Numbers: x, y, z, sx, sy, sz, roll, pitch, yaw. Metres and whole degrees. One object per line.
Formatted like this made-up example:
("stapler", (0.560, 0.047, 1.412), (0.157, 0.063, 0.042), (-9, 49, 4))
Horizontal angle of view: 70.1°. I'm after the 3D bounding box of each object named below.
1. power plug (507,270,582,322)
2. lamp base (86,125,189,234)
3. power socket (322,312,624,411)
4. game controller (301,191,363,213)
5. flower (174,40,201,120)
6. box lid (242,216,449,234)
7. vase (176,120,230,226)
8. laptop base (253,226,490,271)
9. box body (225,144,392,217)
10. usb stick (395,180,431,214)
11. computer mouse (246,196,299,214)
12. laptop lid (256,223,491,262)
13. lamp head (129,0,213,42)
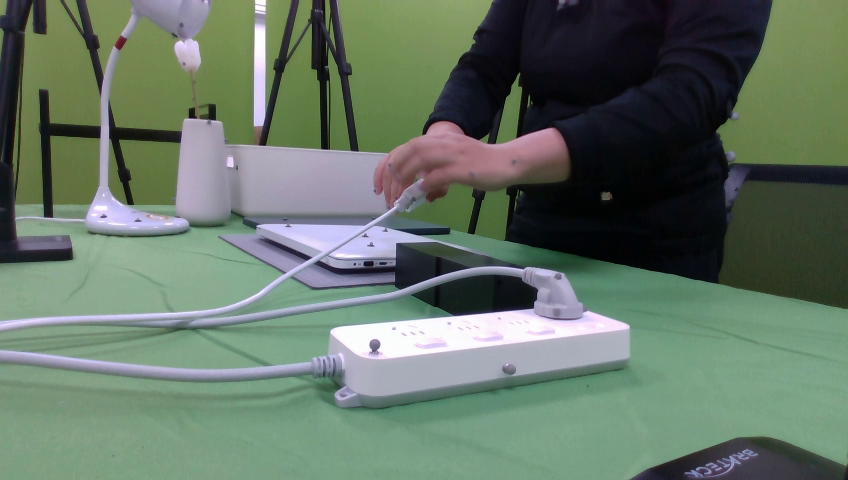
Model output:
("power plug", (0.094, 0.051, 0.470), (0.035, 0.052, 0.072), (0, 5, -16))
("lamp base", (-0.497, -0.105, 1.027), (0.179, 0.180, 0.160), (1, 7, 3))
("power socket", (0.039, 0.075, 0.410), (0.228, 0.032, 0.072), (-1, 8, -28))
("game controller", (-0.240, -0.098, 1.550), (0.155, 0.051, 0.097), (3, 9, 5))
("flower", (-0.430, -0.211, 1.165), (0.044, 0.361, 0.038), (-10, -5, -24))
("box lid", (-0.162, -0.030, 1.233), (0.373, 0.015, 0.262), (-1, 8, -32))
("vase", (-0.424, -0.128, 1.159), (0.098, 0.200, 0.098), (2, 9, 0))
("laptop base", (-0.096, 0.012, 0.912), (0.237, 0.023, 0.352), (2, 7, -32))
("box body", (-0.289, -0.143, 1.475), (0.366, 0.160, 0.253), (-1, 9, -29))
("usb stick", (-0.011, -0.057, 0.767), (0.021, 0.027, 0.059), (37, 39, 9))
("computer mouse", (-0.354, -0.083, 1.418), (0.117, 0.041, 0.063), (0, 10, 7))
("laptop lid", (-0.092, 0.000, 0.912), (0.243, 0.013, 0.355), (1, 7, -30))
("lamp head", (-0.423, -0.394, 0.980), (0.123, 0.112, 0.112), (20, 7, -3))
